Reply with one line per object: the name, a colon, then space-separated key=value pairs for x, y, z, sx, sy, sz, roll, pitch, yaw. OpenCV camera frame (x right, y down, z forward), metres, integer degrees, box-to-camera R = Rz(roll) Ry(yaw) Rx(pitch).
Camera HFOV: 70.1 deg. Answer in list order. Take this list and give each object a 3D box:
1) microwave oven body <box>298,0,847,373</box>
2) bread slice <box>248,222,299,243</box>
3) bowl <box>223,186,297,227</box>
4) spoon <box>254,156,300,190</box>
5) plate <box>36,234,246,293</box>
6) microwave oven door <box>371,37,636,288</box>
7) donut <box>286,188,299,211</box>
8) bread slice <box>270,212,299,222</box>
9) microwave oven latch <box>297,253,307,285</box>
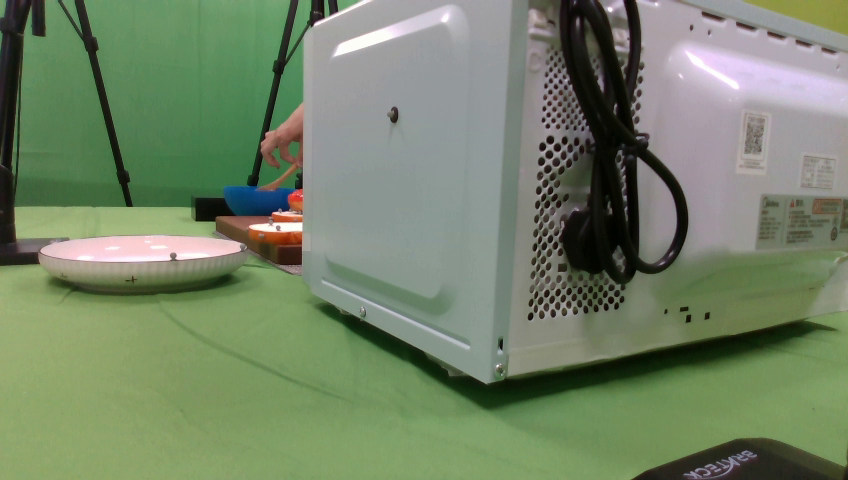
microwave oven body: x=0.151 y=-0.055 z=0.542 sx=0.444 sy=0.260 sz=0.324 roll=-1 pitch=7 yaw=-33
bread slice: x=-0.174 y=-0.012 z=0.844 sx=0.135 sy=0.018 sz=0.106 roll=-6 pitch=10 yaw=-44
bowl: x=-0.330 y=-0.068 z=1.230 sx=0.151 sy=0.077 sz=0.151 roll=2 pitch=7 yaw=0
spoon: x=-0.299 y=-0.137 z=1.290 sx=0.194 sy=0.042 sz=0.021 roll=-46 pitch=20 yaw=-16
plate: x=-0.305 y=0.026 z=0.668 sx=0.208 sy=0.039 sz=0.207 roll=3 pitch=7 yaw=0
microwave oven door: x=0.109 y=-0.080 z=0.686 sx=0.358 sy=0.243 sz=0.039 roll=-2 pitch=9 yaw=-33
donut: x=-0.190 y=-0.068 z=1.055 sx=0.099 sy=0.048 sz=0.099 roll=3 pitch=6 yaw=0
bread slice: x=-0.197 y=-0.038 z=1.051 sx=0.132 sy=0.019 sz=0.104 roll=0 pitch=6 yaw=-31
microwave oven latch: x=-0.082 y=0.027 z=0.582 sx=0.079 sy=0.029 sz=0.030 roll=-1 pitch=7 yaw=-32
